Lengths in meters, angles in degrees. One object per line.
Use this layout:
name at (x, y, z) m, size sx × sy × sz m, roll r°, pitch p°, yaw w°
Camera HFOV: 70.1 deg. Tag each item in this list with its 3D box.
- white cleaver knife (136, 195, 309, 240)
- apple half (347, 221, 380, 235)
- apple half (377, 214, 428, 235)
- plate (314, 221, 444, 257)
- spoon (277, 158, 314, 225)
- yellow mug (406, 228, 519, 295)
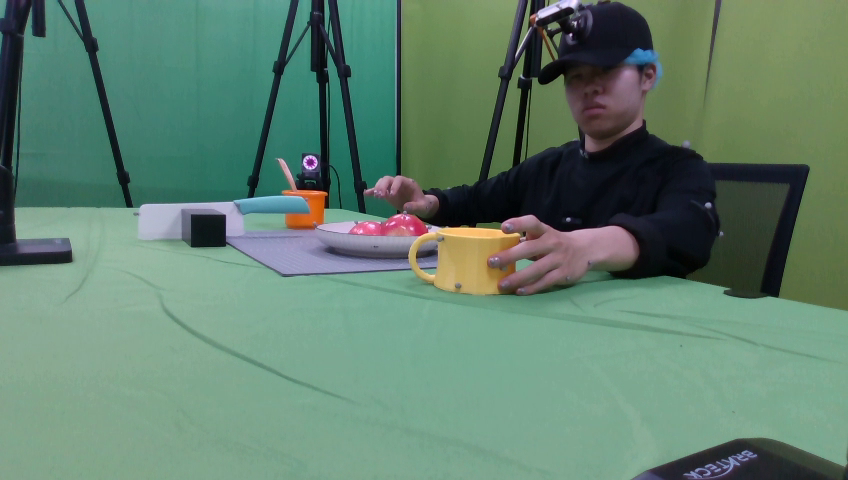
white cleaver knife at (-0.337, -0.039, 1.037) m, size 0.288 × 0.066 × 0.021 m, roll -6°, pitch 15°, yaw -29°
apple half at (-0.088, -0.014, 0.985) m, size 0.081 × 0.033 × 0.081 m, roll 5°, pitch 6°, yaw 0°
apple half at (-0.034, -0.013, 0.924) m, size 0.080 × 0.053 × 0.075 m, roll 5°, pitch 10°, yaw 16°
plate at (-0.067, -0.002, 0.947) m, size 0.209 × 0.038 × 0.209 m, roll 3°, pitch 7°, yaw 0°
spoon at (-0.272, -0.103, 1.260) m, size 0.042 × 0.193 × 0.021 m, roll -5°, pitch -34°, yaw -33°
yellow mug at (0.044, 0.022, 0.707) m, size 0.131 × 0.064 × 0.100 m, roll 2°, pitch 7°, yaw 4°
